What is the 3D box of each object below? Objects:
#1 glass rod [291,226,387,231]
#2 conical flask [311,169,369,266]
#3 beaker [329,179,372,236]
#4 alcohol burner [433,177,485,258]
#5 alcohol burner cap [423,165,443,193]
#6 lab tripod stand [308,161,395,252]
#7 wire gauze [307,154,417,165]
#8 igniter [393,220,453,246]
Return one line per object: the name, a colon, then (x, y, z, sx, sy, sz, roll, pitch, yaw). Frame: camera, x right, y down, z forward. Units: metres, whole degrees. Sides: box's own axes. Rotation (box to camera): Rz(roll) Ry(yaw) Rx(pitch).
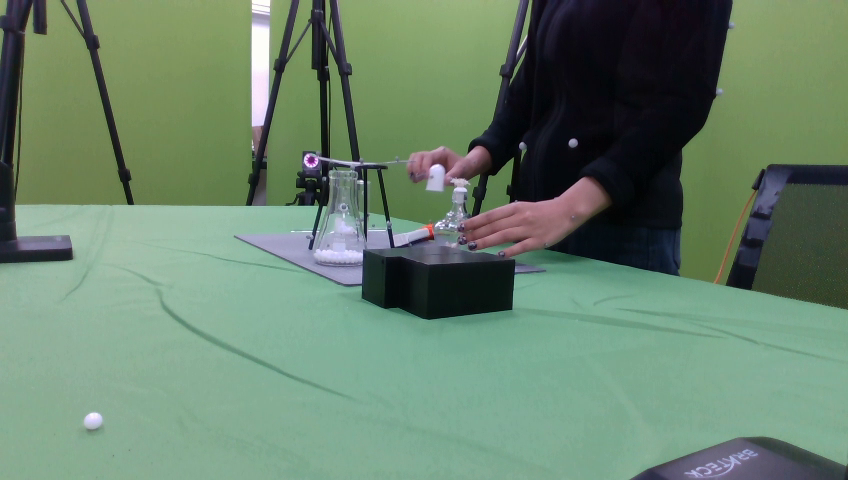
glass rod: (-0.161, -0.023, 1.177, 0.201, 0.008, 0.008, -2, 8, -29)
conical flask: (-0.107, -0.031, 0.786, 0.075, 0.122, 0.075, 2, 8, 0)
beaker: (-0.137, -0.061, 1.101, 0.084, 0.100, 0.074, 4, 7, 20)
alcohol burner: (0.052, -0.033, 0.894, 0.078, 0.119, 0.078, 2, 10, 0)
alcohol burner cap: (0.017, -0.105, 1.036, 0.034, 0.048, 0.034, 5, 3, 0)
lab tripod stand: (-0.098, -0.053, 0.919, 0.148, 0.131, 0.148, 4, 7, 0)
wire gauze: (-0.094, -0.120, 0.913, 0.122, 0.011, 0.124, -5, 11, -45)
igniter: (0.003, -0.015, 1.083, 0.057, 0.025, 0.277, -13, 2, 18)
